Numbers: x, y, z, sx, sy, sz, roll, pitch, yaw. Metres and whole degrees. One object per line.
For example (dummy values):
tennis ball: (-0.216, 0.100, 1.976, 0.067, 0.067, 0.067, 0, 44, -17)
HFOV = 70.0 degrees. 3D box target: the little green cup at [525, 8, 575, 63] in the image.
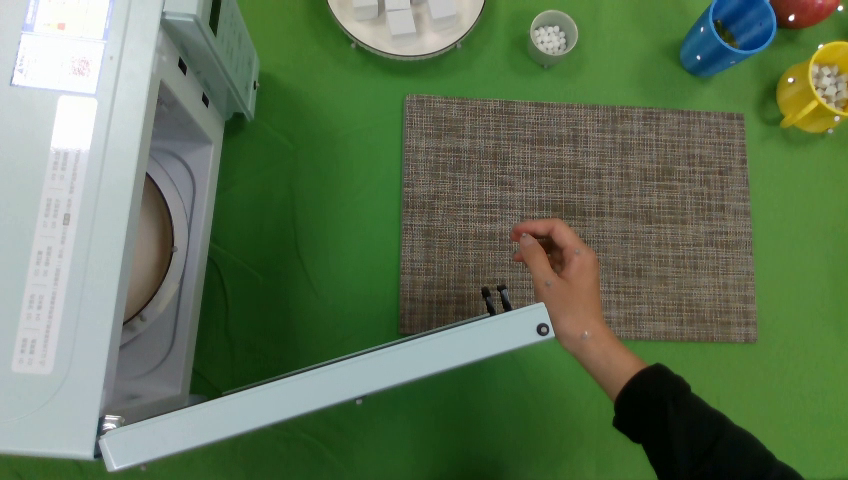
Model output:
little green cup: (0.160, -0.261, 0.780, 0.061, 0.039, 0.061, 1, 81, -4)

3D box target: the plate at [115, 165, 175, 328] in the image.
plate: (-0.364, 0.000, 0.629, 0.209, 0.038, 0.208, 1, 82, -6)

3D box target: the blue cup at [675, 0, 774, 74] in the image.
blue cup: (0.371, -0.258, 0.767, 0.093, 0.100, 0.092, 1, 83, -6)

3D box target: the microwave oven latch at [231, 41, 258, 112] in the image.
microwave oven latch: (-0.215, -0.195, 0.718, 0.030, 0.029, 0.079, 7, 82, -4)

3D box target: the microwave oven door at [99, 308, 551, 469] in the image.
microwave oven door: (-0.077, 0.128, 0.580, 0.356, 0.244, 0.039, -16, 81, -7)

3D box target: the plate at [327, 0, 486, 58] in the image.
plate: (-0.023, -0.327, 0.774, 0.208, 0.039, 0.207, 1, 81, -5)

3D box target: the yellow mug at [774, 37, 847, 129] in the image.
yellow mug: (0.512, -0.193, 0.787, 0.131, 0.064, 0.100, -40, 87, -8)

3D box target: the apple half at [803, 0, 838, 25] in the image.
apple half: (0.526, -0.323, 0.803, 0.033, 0.081, 0.081, 8, 80, 0)

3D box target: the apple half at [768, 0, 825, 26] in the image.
apple half: (0.486, -0.328, 0.802, 0.053, 0.075, 0.080, 8, 84, 0)

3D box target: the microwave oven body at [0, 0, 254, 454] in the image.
microwave oven body: (-0.368, -0.049, 0.585, 0.326, 0.260, 0.440, 5, 82, -5)
